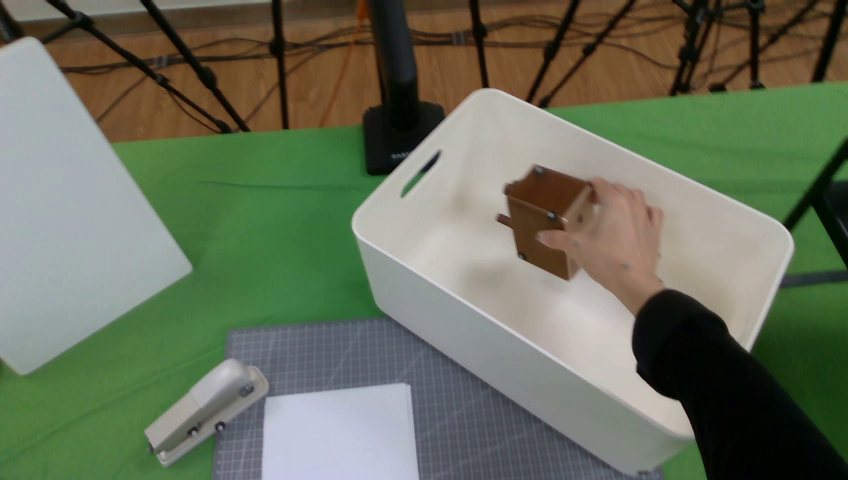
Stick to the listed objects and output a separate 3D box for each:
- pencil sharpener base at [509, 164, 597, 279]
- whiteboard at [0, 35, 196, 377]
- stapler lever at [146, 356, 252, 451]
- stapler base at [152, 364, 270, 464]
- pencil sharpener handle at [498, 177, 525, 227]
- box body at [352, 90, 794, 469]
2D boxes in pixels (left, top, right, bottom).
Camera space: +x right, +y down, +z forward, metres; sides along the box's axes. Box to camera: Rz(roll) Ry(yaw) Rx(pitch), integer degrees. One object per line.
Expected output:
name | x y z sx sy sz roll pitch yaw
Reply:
pencil sharpener base | 0.140 -0.020 0.659 0.076 0.108 0.061 27 63 33
whiteboard | -0.437 -0.045 0.659 0.217 0.308 0.142 -35 43 -20
stapler lever | -0.229 0.164 0.616 0.118 0.040 0.026 -36 58 -18
stapler base | -0.226 0.177 0.637 0.130 0.024 0.041 -36 58 -17
pencil sharpener handle | 0.097 -0.044 0.676 0.030 0.068 0.036 27 48 33
box body | 0.142 0.034 0.644 0.361 0.162 0.253 31 61 20
